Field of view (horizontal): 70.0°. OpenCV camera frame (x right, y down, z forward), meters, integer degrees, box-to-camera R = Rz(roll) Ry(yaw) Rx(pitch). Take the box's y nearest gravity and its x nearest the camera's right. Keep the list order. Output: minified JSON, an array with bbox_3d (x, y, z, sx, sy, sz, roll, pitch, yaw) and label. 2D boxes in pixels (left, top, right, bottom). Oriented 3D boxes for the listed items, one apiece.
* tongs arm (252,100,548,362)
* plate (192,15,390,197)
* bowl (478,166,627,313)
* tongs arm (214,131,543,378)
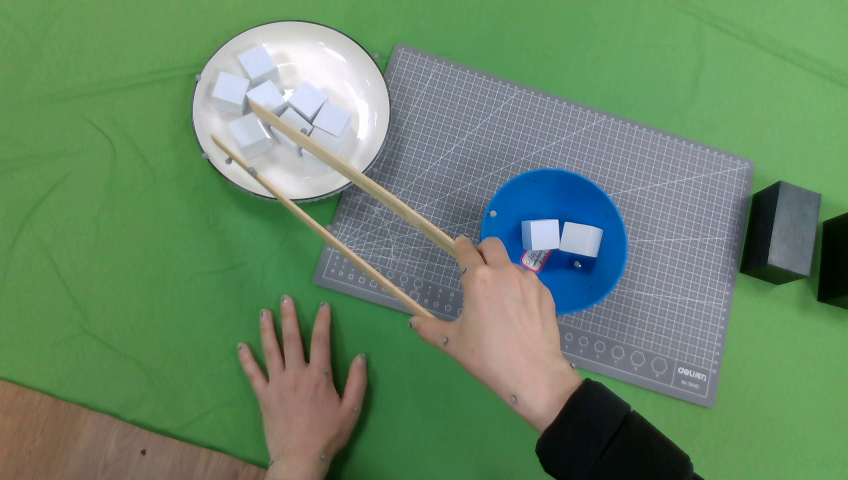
[{"bbox_3d":[-0.037,-0.027,0.545,0.384,0.028,0.028,38,67,24],"label":"tongs arm"},{"bbox_3d":[-0.141,-0.142,0.657,0.208,0.039,0.206,1,77,-5],"label":"plate"},{"bbox_3d":[0.124,0.006,0.632,0.152,0.077,0.150,2,77,-7],"label":"bowl"},{"bbox_3d":[-0.059,-0.005,0.536,0.050,0.027,0.381,-42,64,-17],"label":"tongs arm"}]
